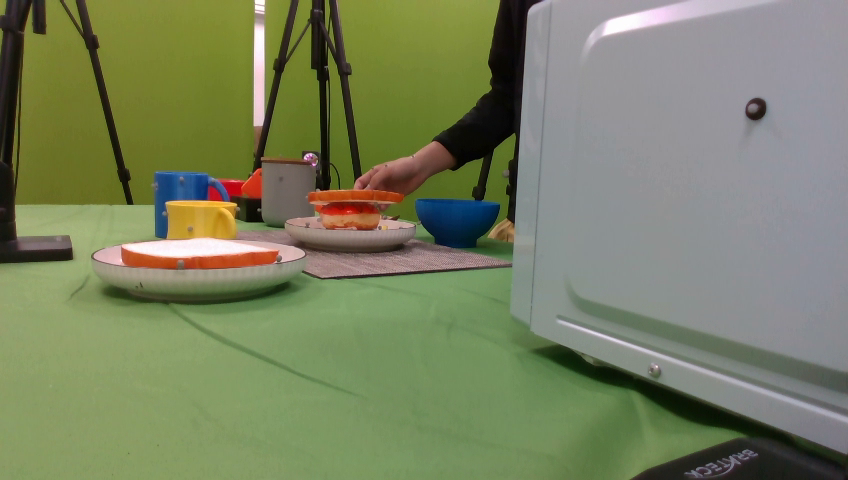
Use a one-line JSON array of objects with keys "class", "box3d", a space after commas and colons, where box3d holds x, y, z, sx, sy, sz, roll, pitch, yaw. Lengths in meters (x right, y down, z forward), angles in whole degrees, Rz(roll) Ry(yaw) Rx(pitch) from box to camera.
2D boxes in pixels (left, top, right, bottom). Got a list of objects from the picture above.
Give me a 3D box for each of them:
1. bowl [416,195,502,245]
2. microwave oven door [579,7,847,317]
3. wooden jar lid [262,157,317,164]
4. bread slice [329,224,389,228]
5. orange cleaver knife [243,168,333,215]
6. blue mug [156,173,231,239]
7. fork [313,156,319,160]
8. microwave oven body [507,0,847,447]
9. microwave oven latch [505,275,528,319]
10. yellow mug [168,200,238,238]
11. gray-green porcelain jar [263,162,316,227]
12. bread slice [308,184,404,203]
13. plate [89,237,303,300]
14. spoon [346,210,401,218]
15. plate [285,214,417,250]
[{"class": "bowl", "box3d": [0.059, -0.035, 1.050, 0.151, 0.077, 0.151, 2, 7, 0]}, {"class": "microwave oven door", "box3d": [0.294, -0.066, 0.570, 0.358, 0.243, 0.039, -3, 9, -31]}, {"class": "wooden jar lid", "box3d": [-0.269, -0.154, 1.208, 0.108, 0.020, 0.108, 3, 4, 0]}, {"class": "bread slice", "box3d": [-0.103, -0.011, 0.960, 0.131, 0.019, 0.105, 4, 8, 24]}, {"class": "orange cleaver knife", "box3d": [-0.300, -0.089, 1.352, 0.212, 0.077, 0.012, 28, -8, -34]}, {"class": "blue mug", "box3d": [-0.381, -0.057, 1.004, 0.117, 0.106, 0.082, 0, 8, -12]}, {"class": "fork", "box3d": [-0.331, -0.144, 1.506, 0.207, 0.018, 0.028, -42, -18, 22]}, {"class": "microwave oven body", "box3d": [0.331, -0.042, 0.425, 0.444, 0.260, 0.324, -2, 8, -31]}, {"class": "microwave oven latch", "box3d": [0.100, 0.042, 0.471, 0.079, 0.029, 0.030, -1, 7, -28]}, {"class": "yellow mug", "box3d": [-0.320, -0.023, 0.904, 0.130, 0.064, 0.100, 9, 10, 36]}, {"class": "gray-green porcelain jar", "box3d": [-0.271, -0.092, 1.217, 0.106, 0.126, 0.106, 2, 7, 0]}, {"class": "bread slice", "box3d": [-0.114, -0.072, 0.953, 0.134, 0.018, 0.107, -3, -1, 21]}, {"class": "plate", "box3d": [-0.233, 0.029, 0.637, 0.208, 0.039, 0.207, 2, 7, 0]}, {"class": "spoon", "box3d": [-0.121, -0.060, 1.400, 0.042, 0.021, 0.192, -26, 24, -38]}, {"class": "plate", "box3d": [-0.116, -0.014, 0.964, 0.209, 0.038, 0.209, 2, 8, 0]}]
